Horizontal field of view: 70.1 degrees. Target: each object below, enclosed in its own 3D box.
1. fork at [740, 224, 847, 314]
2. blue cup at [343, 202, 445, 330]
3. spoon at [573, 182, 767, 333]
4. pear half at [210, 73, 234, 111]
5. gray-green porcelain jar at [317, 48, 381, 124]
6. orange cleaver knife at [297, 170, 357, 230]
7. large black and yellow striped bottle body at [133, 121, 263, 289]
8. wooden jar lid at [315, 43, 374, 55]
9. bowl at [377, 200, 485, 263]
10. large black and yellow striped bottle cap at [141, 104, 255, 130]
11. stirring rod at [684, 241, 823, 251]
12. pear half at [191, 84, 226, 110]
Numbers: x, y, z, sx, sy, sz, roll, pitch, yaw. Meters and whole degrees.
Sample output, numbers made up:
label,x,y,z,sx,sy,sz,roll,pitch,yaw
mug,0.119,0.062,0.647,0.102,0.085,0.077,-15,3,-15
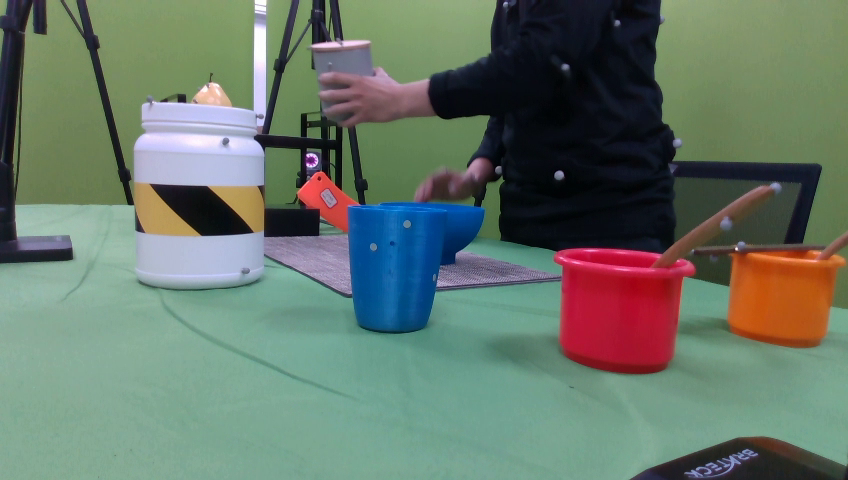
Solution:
label,x,y,z,sx,sy,sz,roll,pitch,yaw
fork,0.323,0.013,0.485,0.028,0.018,0.207,9,-38,-5
blue cup,-0.027,0.021,0.510,0.093,0.100,0.092,3,5,0
spoon,0.158,0.020,0.412,0.042,0.021,0.193,-2,-35,-21
pear half,-0.402,-0.262,1.162,0.076,0.109,0.056,6,7,2
gray-green porcelain jar,-0.137,-0.286,1.122,0.106,0.126,0.105,-5,22,2
orange cleaver knife,-0.149,-0.058,1.170,0.212,0.077,0.012,33,-15,-32
large black and yellow striped bottle body,-0.243,-0.048,0.659,0.131,0.184,0.130,2,7,0
wooden jar lid,-0.143,-0.343,1.099,0.108,0.021,0.108,-4,24,2
bowl,0.008,-0.012,0.842,0.151,0.077,0.151,2,7,0
large black and yellow striped bottle cap,-0.241,-0.131,0.650,0.115,0.019,0.115,3,8,0
stirring rod,0.289,0.005,0.525,0.177,0.006,0.014,-1,5,-26
pear half,-0.406,-0.248,1.128,0.070,0.088,0.031,5,7,2
